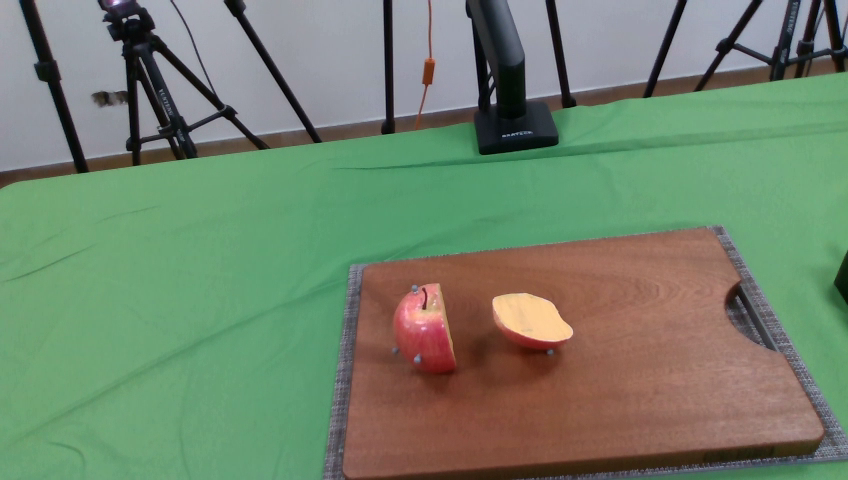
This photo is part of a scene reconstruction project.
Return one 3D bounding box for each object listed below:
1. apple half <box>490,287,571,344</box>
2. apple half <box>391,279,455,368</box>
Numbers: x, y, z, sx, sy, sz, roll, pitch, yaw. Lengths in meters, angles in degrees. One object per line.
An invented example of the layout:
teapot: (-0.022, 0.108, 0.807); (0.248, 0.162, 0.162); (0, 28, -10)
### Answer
apple half: (0.097, 0.079, 0.583); (0.081, 0.033, 0.080); (11, 28, -6)
apple half: (-0.003, 0.083, 0.574); (0.053, 0.075, 0.080); (-14, 45, 2)
